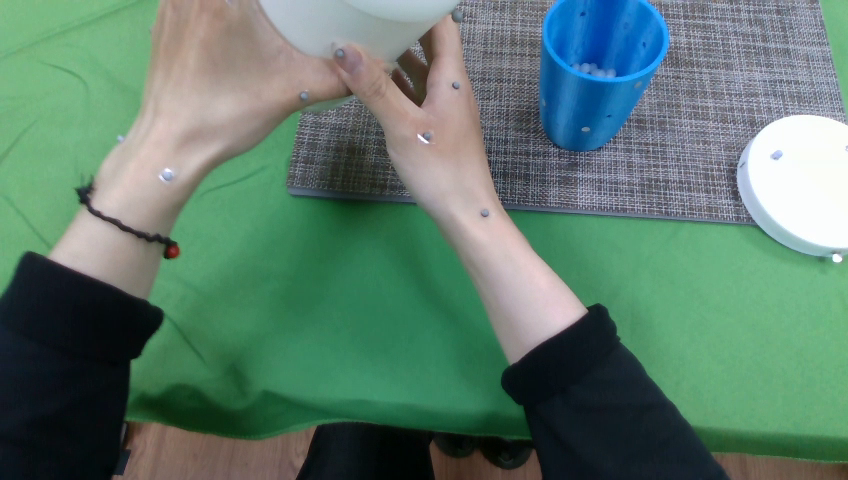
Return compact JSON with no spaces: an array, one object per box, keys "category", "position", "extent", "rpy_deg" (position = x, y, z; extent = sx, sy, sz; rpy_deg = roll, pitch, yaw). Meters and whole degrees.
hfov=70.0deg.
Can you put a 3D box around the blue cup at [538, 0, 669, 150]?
[{"category":"blue cup","position":[0.124,-0.120,0.453],"extent":[0.092,0.101,0.092],"rpy_deg":[-1,64,2]}]

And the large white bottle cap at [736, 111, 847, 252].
[{"category":"large white bottle cap","position":[0.300,-0.047,0.464],"extent":[0.115,0.018,0.114],"rpy_deg":[1,69,-1]}]

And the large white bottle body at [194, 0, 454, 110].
[{"category":"large white bottle body","position":[-0.050,-0.167,0.352],"extent":[0.131,0.184,0.130],"rpy_deg":[7,76,-30]}]
